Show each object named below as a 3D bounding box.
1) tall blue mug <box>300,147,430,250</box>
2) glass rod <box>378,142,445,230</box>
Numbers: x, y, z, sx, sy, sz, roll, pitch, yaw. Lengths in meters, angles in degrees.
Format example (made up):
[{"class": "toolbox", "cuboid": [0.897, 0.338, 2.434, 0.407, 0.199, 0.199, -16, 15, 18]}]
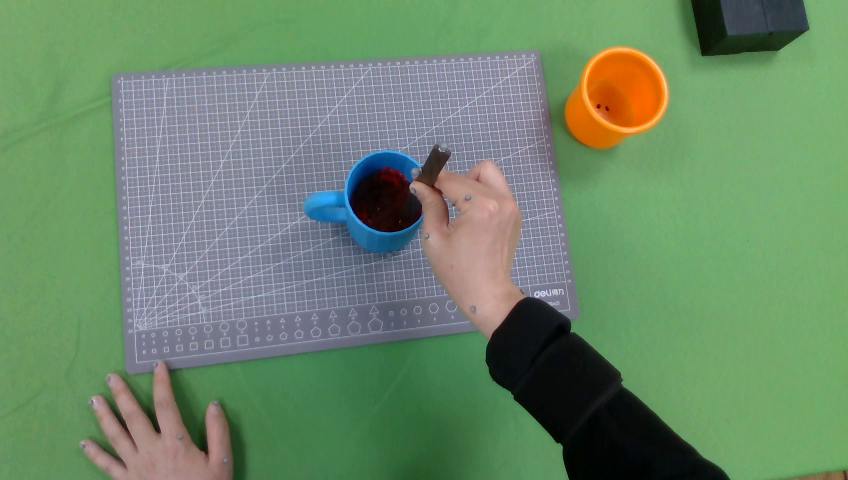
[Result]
[{"class": "tall blue mug", "cuboid": [-0.052, -0.029, 0.570, 0.107, 0.108, 0.077, -30, 86, -11]}, {"class": "glass rod", "cuboid": [-0.016, -0.037, 0.507, 0.008, 0.200, 0.008, 5, 72, -15]}]
